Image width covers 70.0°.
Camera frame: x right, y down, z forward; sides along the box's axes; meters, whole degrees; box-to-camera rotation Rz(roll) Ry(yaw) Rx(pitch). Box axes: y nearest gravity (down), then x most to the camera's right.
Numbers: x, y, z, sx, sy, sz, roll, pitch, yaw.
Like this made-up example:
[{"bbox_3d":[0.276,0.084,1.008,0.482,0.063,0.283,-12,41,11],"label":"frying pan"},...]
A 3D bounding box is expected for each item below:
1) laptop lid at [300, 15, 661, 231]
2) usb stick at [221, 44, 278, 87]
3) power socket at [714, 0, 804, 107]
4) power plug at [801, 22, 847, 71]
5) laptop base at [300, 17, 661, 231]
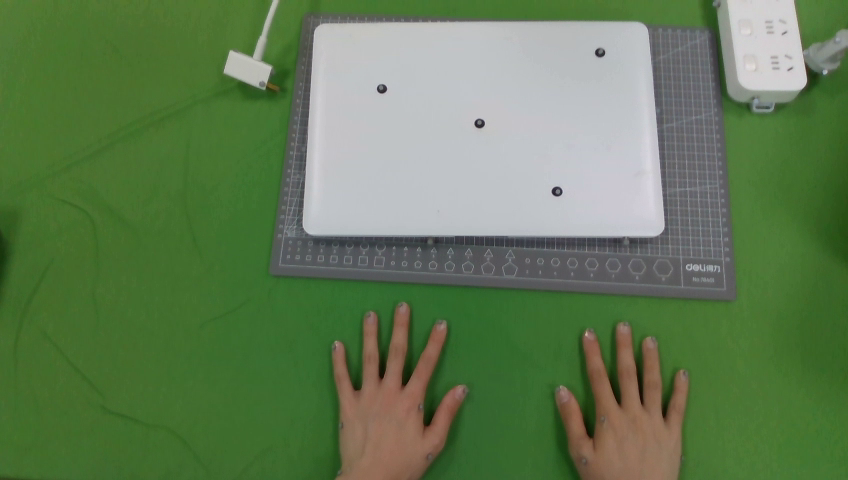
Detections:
[{"bbox_3d":[0.054,-0.122,0.611,0.357,0.013,0.240,2,77,2],"label":"laptop lid"},{"bbox_3d":[-0.180,-0.181,0.637,0.059,0.021,0.027,24,104,-16],"label":"usb stick"},{"bbox_3d":[0.350,-0.251,0.646,0.072,0.033,0.225,2,74,1],"label":"power socket"},{"bbox_3d":[0.422,-0.197,0.625,0.073,0.053,0.035,-14,70,-19],"label":"power plug"},{"bbox_3d":[0.055,-0.121,0.624,0.354,0.023,0.234,0,78,1],"label":"laptop base"}]
